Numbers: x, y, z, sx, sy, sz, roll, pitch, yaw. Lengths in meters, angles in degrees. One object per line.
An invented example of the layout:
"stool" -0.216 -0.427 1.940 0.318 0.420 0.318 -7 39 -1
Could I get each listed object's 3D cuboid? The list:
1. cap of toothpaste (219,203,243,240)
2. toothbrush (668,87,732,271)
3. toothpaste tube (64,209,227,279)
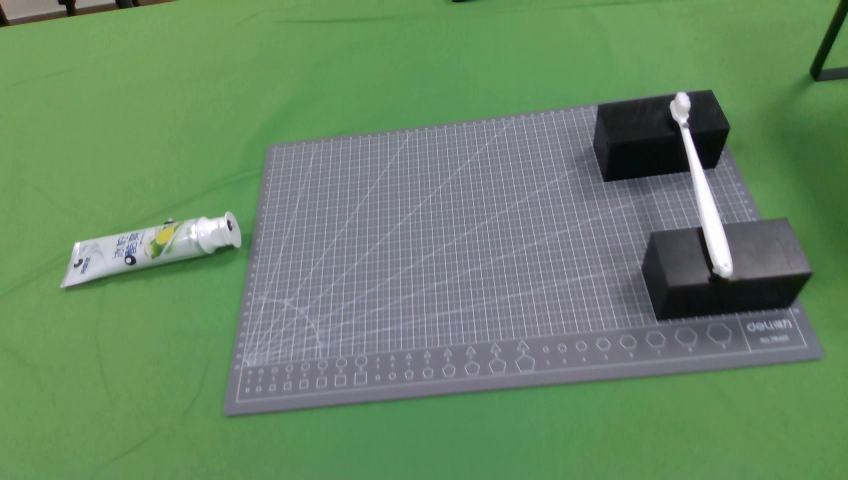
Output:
"cap of toothpaste" -0.179 -0.017 0.560 0.011 0.038 0.037 -14 53 0
"toothbrush" 0.215 -0.055 0.474 0.014 0.017 0.180 5 56 -3
"toothpaste tube" -0.258 -0.002 0.570 0.165 0.035 0.054 -12 47 5
